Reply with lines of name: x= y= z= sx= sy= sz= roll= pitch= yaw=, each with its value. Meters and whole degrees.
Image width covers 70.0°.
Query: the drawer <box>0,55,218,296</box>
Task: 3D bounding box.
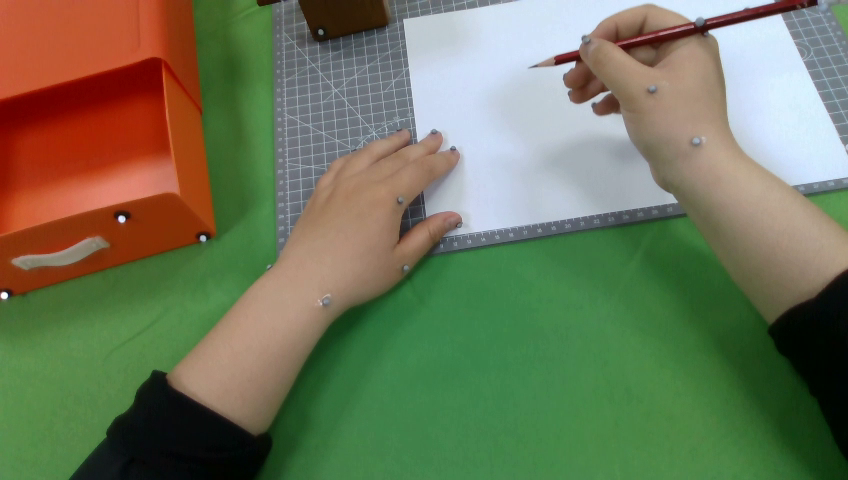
drawer: x=-0.274 y=-0.079 z=0.462 sx=0.194 sy=0.074 sz=0.210 roll=-17 pitch=65 yaw=1

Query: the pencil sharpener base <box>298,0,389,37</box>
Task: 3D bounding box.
pencil sharpener base: x=-0.077 y=-0.225 z=0.483 sx=0.077 sy=0.108 sz=0.061 roll=-14 pitch=65 yaw=2

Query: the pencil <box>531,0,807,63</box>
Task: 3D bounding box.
pencil: x=0.151 y=-0.126 z=0.354 sx=0.193 sy=0.012 sz=0.012 roll=-4 pitch=62 yaw=36

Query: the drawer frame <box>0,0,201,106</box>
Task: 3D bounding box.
drawer frame: x=-0.304 y=-0.182 z=0.510 sx=0.202 sy=0.083 sz=0.211 roll=-16 pitch=64 yaw=1
